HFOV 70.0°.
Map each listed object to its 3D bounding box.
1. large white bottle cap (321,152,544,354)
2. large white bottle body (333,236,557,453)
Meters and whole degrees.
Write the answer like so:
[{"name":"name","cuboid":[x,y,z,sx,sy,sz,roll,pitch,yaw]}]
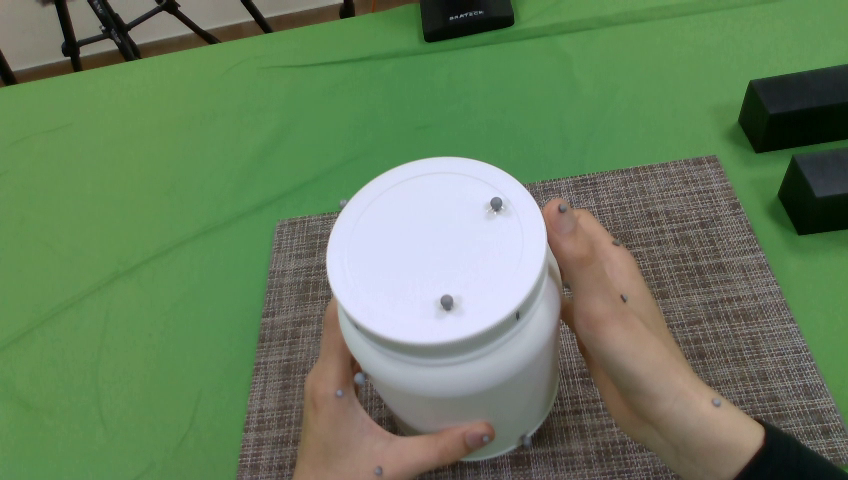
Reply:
[{"name":"large white bottle cap","cuboid":[0.003,0.003,0.313,0.115,0.018,0.114,-5,58,8]},{"name":"large white bottle body","cuboid":[0.018,0.050,0.387,0.130,0.186,0.129,-5,57,8]}]
